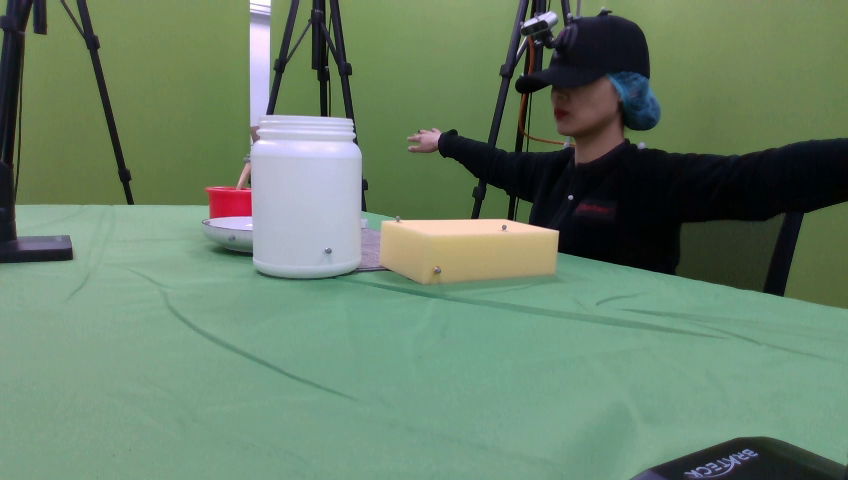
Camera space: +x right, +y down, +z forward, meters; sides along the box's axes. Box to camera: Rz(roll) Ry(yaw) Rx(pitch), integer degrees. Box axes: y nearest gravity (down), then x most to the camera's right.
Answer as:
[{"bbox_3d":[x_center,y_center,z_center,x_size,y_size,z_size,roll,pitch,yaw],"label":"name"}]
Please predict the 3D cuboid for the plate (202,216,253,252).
[{"bbox_3d":[-0.223,-0.010,0.909,0.209,0.038,0.209,2,7,0],"label":"plate"}]

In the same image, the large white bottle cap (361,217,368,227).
[{"bbox_3d":[-0.171,-0.038,1.234,0.115,0.018,0.115,2,5,0],"label":"large white bottle cap"}]

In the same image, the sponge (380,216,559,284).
[{"bbox_3d":[0.059,0.008,0.786,0.208,0.061,0.117,-3,11,-32],"label":"sponge"}]

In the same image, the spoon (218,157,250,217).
[{"bbox_3d":[-0.332,-0.091,1.091,0.041,0.021,0.193,2,52,6],"label":"spoon"}]

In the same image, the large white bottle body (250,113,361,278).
[{"bbox_3d":[-0.141,-0.057,0.727,0.131,0.184,0.130,1,10,0],"label":"large white bottle body"}]
